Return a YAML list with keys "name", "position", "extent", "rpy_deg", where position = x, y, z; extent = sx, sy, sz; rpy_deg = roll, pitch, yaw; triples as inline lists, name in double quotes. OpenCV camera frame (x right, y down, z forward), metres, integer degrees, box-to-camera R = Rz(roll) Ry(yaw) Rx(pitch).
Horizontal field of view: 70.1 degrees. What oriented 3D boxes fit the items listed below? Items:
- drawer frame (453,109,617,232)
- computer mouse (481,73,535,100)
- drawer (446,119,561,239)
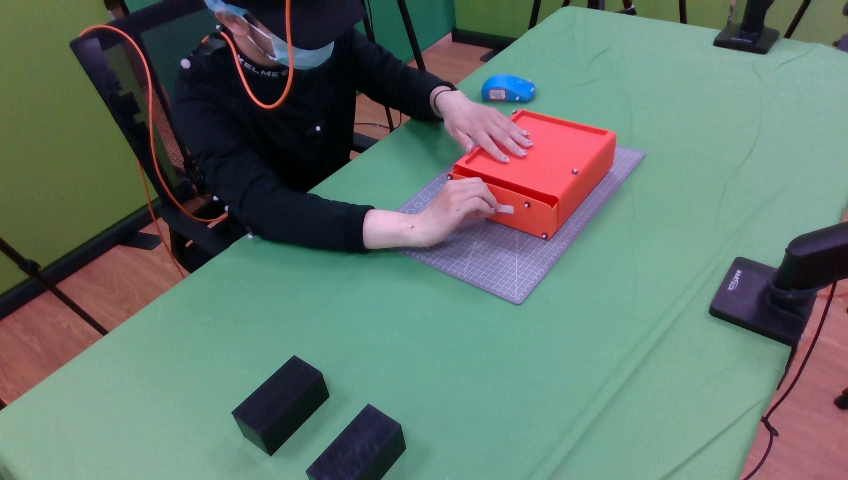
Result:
- name: "drawer frame"
  position: [0.191, -0.128, 1.039]
  extent: [0.200, 0.083, 0.214]
  rpy_deg: [21, 47, 30]
- name: "computer mouse"
  position: [0.183, -0.335, 1.320]
  extent: [0.117, 0.041, 0.063]
  rpy_deg: [11, 42, 14]
- name: "drawer"
  position: [0.176, -0.112, 1.025]
  extent: [0.193, 0.073, 0.212]
  rpy_deg: [22, 47, 30]
